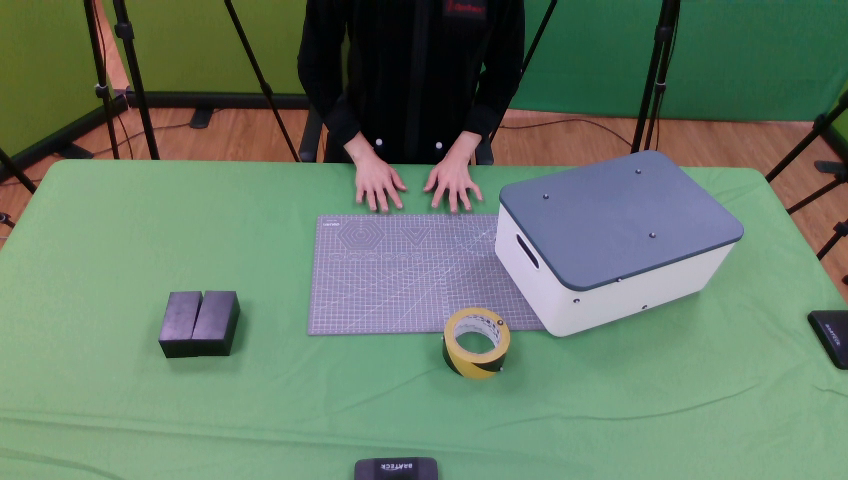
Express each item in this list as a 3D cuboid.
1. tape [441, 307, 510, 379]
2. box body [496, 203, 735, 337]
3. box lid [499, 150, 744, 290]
[{"bbox_3d":[0.087,0.172,1.014,0.117,0.053,0.116,2,48,-2],"label":"tape"},{"bbox_3d":[0.340,0.003,1.118,0.364,0.161,0.252,-15,49,-18],"label":"box body"},{"bbox_3d":[0.341,-0.049,1.064,0.372,0.015,0.261,-15,48,-18],"label":"box lid"}]
